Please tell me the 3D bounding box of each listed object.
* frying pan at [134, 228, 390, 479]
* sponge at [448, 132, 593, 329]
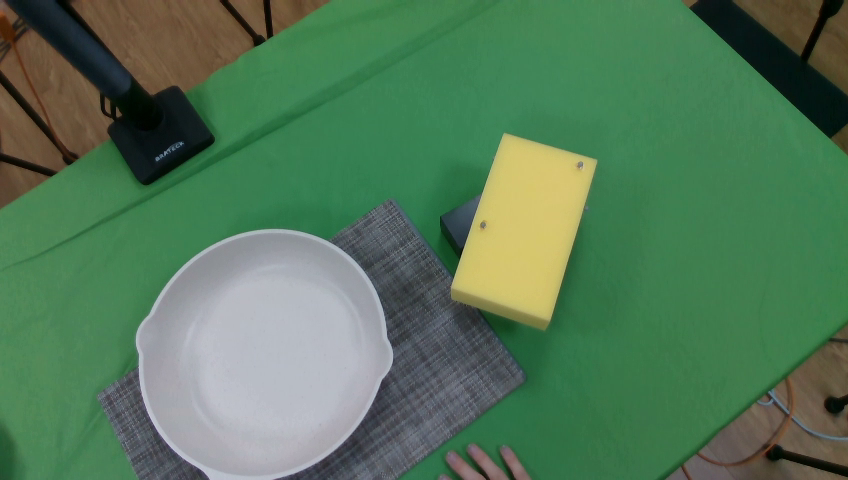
[{"bbox_3d":[-0.203,0.223,0.688,0.306,0.103,0.484,5,64,6],"label":"frying pan"},{"bbox_3d":[0.116,-0.013,0.723,0.118,0.061,0.206,17,73,9],"label":"sponge"}]
